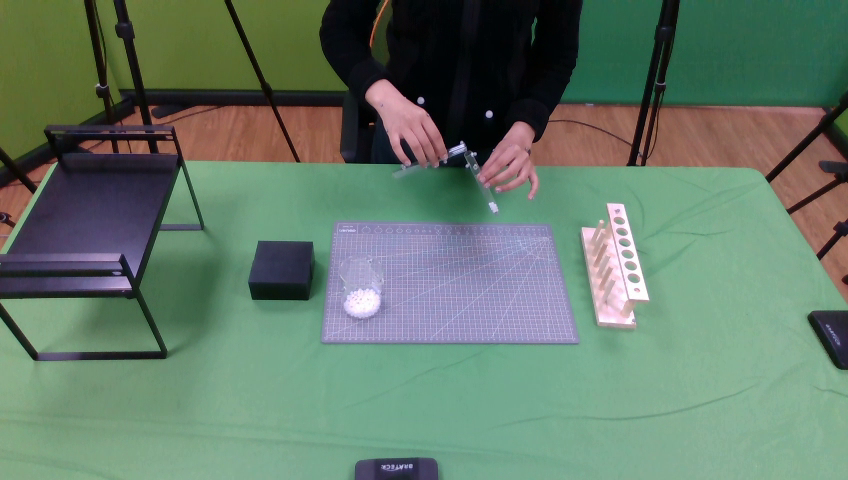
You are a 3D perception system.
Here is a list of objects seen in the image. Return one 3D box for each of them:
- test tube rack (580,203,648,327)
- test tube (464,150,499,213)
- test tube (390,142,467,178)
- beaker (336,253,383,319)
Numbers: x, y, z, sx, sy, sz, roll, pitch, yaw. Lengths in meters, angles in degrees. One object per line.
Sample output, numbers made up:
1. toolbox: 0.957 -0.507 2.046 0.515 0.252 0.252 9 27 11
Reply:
1. test tube rack: 0.352 0.040 1.143 0.067 0.085 0.241 4 46 0
2. test tube: 0.107 -0.105 1.116 0.017 0.151 0.017 -18 40 16
3. test tube: 0.007 -0.142 1.082 0.150 0.017 0.017 -20 44 16
4. beaker: -0.108 0.084 1.052 0.084 0.101 0.074 25 50 17
